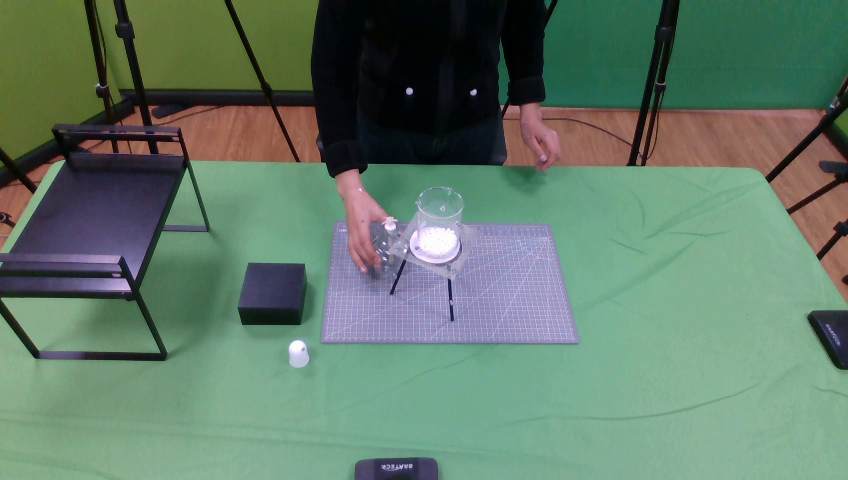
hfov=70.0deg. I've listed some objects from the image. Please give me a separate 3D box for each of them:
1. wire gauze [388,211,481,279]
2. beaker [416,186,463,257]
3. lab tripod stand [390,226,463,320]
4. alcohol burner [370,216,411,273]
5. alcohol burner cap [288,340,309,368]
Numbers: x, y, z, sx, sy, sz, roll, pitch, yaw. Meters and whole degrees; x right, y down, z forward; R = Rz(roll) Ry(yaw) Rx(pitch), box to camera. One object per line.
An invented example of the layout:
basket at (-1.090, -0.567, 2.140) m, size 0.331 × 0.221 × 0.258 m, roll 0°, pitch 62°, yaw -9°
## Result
wire gauze at (0.018, 0.003, 1.020) m, size 0.125 × 0.011 × 0.121 m, roll 20°, pitch 47°, yaw 18°
beaker at (0.024, -0.029, 0.984) m, size 0.074 × 0.101 × 0.083 m, roll 19°, pitch 48°, yaw 14°
lab tripod stand at (0.014, 0.053, 1.063) m, size 0.148 × 0.132 × 0.147 m, roll 1°, pitch 48°, yaw -1°
alcohol burner at (-0.060, 0.004, 1.105) m, size 0.078 × 0.120 × 0.077 m, roll 1°, pitch 46°, yaw -1°
alcohol burner cap at (-0.207, 0.183, 0.991) m, size 0.034 × 0.048 × 0.033 m, roll 3°, pitch 47°, yaw -3°
